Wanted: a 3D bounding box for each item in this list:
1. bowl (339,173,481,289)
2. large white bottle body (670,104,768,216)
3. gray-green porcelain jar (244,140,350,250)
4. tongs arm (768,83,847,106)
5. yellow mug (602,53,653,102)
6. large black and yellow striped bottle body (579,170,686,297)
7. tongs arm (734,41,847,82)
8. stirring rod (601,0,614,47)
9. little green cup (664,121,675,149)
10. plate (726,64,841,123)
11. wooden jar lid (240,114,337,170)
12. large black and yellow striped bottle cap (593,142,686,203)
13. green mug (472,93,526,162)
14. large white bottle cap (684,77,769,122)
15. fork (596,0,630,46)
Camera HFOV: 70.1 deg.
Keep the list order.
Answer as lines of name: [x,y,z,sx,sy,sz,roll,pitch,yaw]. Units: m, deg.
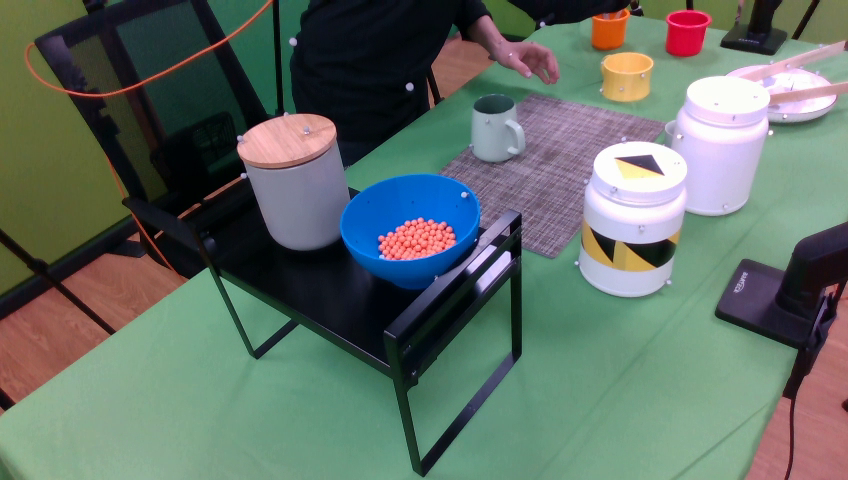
bowl: [-0.011,0.001,0.660,0.151,0.077,0.150,-5,41,5]
large white bottle body: [0.458,-0.146,0.952,0.130,0.185,0.130,-4,40,4]
gray-green porcelain jar: [-0.144,-0.060,0.714,0.106,0.127,0.105,-4,41,4]
tongs arm: [0.738,-0.282,1.134,0.388,0.028,0.028,-9,47,-5]
yellow mug: [0.423,-0.354,1.293,0.100,0.064,0.129,-23,42,-16]
large black and yellow striped bottle body: [0.287,-0.027,0.841,0.131,0.185,0.130,-4,41,4]
tongs arm: [0.712,-0.332,1.194,0.386,0.026,0.050,-18,45,-16]
stirring rod: [0.439,-0.552,1.463,0.014,0.006,0.175,-7,83,2]
little green cup: [0.472,-0.188,1.113,0.061,0.039,0.061,-4,40,4]
plate: [0.694,-0.282,1.189,0.207,0.039,0.206,-4,40,4]
wooden jar lid: [-0.149,-0.106,0.674,0.108,0.021,0.108,-6,39,5]
large black and yellow striped bottle cap: [0.280,-0.090,0.786,0.115,0.019,0.114,-5,41,5]
green mug: [0.144,-0.202,1.122,0.093,0.105,0.124,-29,45,-23]
large white bottle cap: [0.448,-0.209,0.897,0.115,0.018,0.114,-4,40,4]
fork: [0.481,-0.556,1.452,0.028,0.019,0.207,40,103,39]
